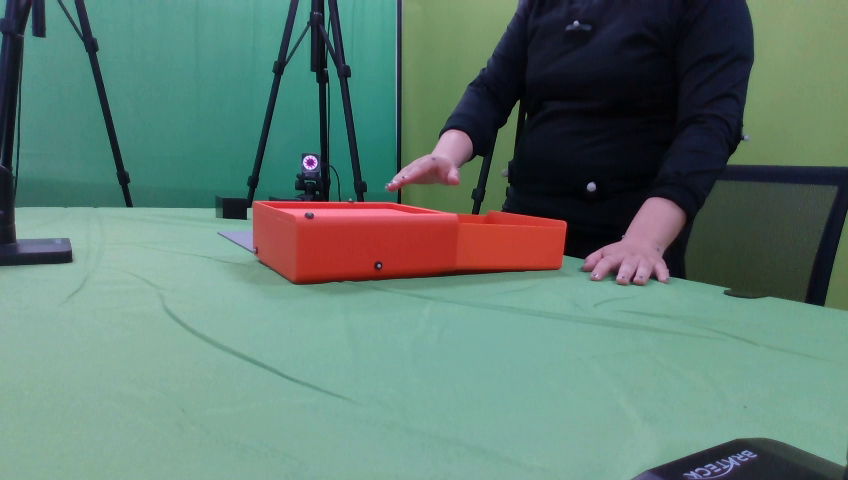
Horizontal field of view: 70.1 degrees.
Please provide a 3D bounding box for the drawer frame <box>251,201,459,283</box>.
[{"bbox_3d":[-0.095,-0.005,0.788,0.215,0.082,0.200,-2,10,-30],"label":"drawer frame"}]

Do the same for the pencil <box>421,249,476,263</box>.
[{"bbox_3d":[0.041,0.021,0.877,0.012,0.012,0.195,6,5,25],"label":"pencil"}]

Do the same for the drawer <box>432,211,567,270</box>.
[{"bbox_3d":[0.063,-0.005,0.879,0.213,0.073,0.193,1,7,-30],"label":"drawer"}]
